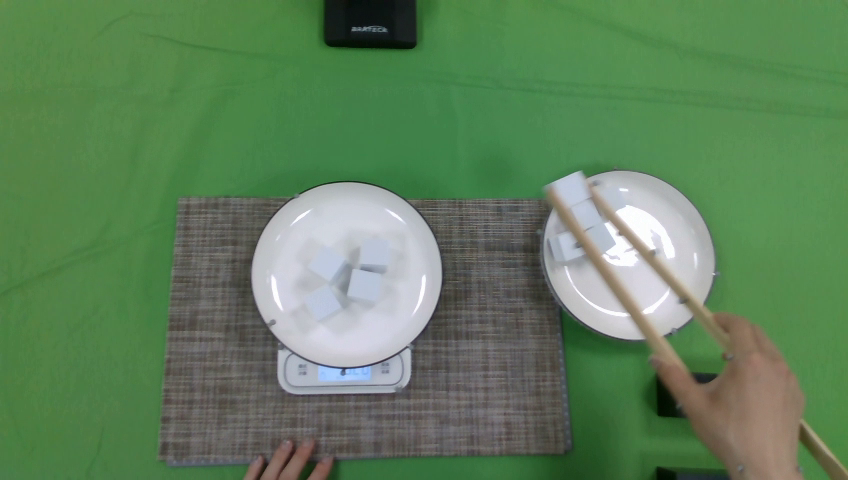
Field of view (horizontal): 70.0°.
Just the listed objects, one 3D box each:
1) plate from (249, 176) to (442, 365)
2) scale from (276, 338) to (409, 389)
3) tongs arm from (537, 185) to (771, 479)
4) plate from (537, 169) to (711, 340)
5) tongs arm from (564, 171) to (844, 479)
[{"bbox_3d":[-0.085,0.033,0.669,0.209,0.038,0.208,1,77,-4],"label":"plate"},{"bbox_3d":[-0.092,0.069,0.694,0.149,0.031,0.200,1,77,-4],"label":"scale"},{"bbox_3d":[0.220,0.094,0.559,0.028,0.028,0.384,-26,65,-17],"label":"tongs arm"},{"bbox_3d":[0.236,0.018,0.729,0.208,0.039,0.206,1,77,-4],"label":"plate"},{"bbox_3d":[0.240,0.083,0.564,0.051,0.027,0.381,-31,67,-16],"label":"tongs arm"}]
